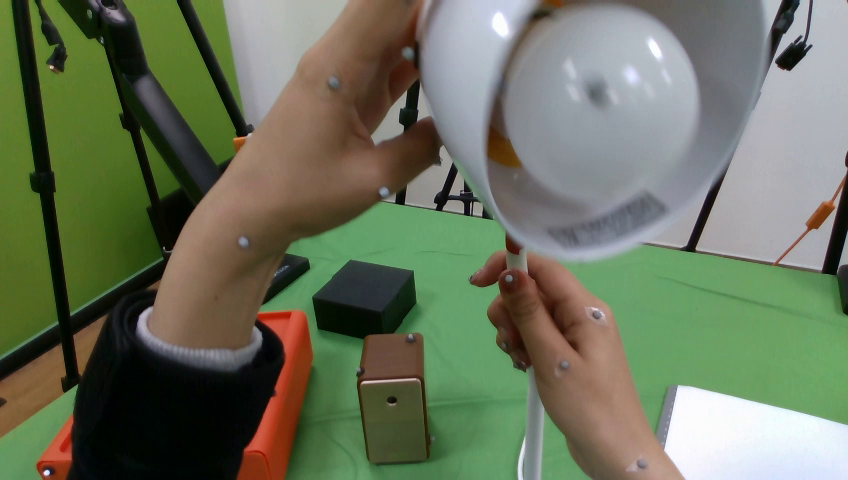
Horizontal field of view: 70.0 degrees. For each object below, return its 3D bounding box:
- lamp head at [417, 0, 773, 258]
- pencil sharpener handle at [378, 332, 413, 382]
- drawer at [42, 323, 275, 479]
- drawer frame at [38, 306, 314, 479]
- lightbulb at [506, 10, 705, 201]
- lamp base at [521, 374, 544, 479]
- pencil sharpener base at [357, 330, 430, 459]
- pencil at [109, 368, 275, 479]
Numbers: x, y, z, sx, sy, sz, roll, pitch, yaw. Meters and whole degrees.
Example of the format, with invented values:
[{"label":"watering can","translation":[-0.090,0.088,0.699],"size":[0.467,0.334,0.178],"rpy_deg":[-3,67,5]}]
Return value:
[{"label":"lamp head","translation":[0.049,-0.065,0.240],"size":[0.113,0.113,0.121],"rpy_deg":[-13,30,-17]},{"label":"pencil sharpener handle","translation":[-0.030,0.116,0.636],"size":[0.036,0.068,0.030],"rpy_deg":[1,28,-2]},{"label":"drawer","translation":[-0.229,0.166,0.620],"size":[0.194,0.074,0.210],"rpy_deg":[-3,27,1]},{"label":"drawer frame","translation":[-0.231,0.163,0.622],"size":[0.202,0.083,0.212],"rpy_deg":[-4,28,1]},{"label":"lightbulb","translation":[0.053,-0.056,0.216],"size":[0.059,0.060,0.106],"rpy_deg":[-10,38,-12]},{"label":"lamp base","translation":[0.078,0.198,0.417],"size":[0.161,0.181,0.178],"rpy_deg":[-5,24,-2]},{"label":"pencil sharpener base","translation":[-0.027,0.151,0.597],"size":[0.061,0.108,0.076],"rpy_deg":[-3,28,1]},{"label":"pencil","translation":[-0.228,0.185,0.594],"size":[0.194,0.012,0.012],"rpy_deg":[-35,40,-26]}]
